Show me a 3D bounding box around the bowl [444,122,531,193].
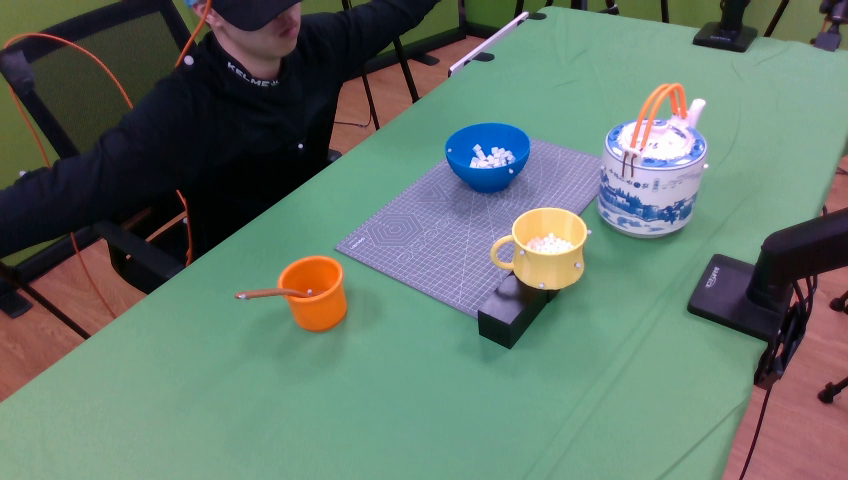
[{"bbox_3d":[0.113,-0.136,1.063,0.151,0.077,0.150,-4,41,4],"label":"bowl"}]

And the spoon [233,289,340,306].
[{"bbox_3d":[-0.180,0.075,0.811,0.041,0.195,0.021,17,91,31],"label":"spoon"}]

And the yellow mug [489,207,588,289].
[{"bbox_3d":[0.154,0.013,0.820,0.131,0.064,0.099,-8,40,0],"label":"yellow mug"}]

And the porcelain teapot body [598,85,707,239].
[{"bbox_3d":[0.363,-0.137,0.921,0.144,0.226,0.206,28,51,36],"label":"porcelain teapot body"}]

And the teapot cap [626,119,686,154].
[{"bbox_3d":[0.338,-0.153,0.882,0.085,0.044,0.085,-3,38,3],"label":"teapot cap"}]
